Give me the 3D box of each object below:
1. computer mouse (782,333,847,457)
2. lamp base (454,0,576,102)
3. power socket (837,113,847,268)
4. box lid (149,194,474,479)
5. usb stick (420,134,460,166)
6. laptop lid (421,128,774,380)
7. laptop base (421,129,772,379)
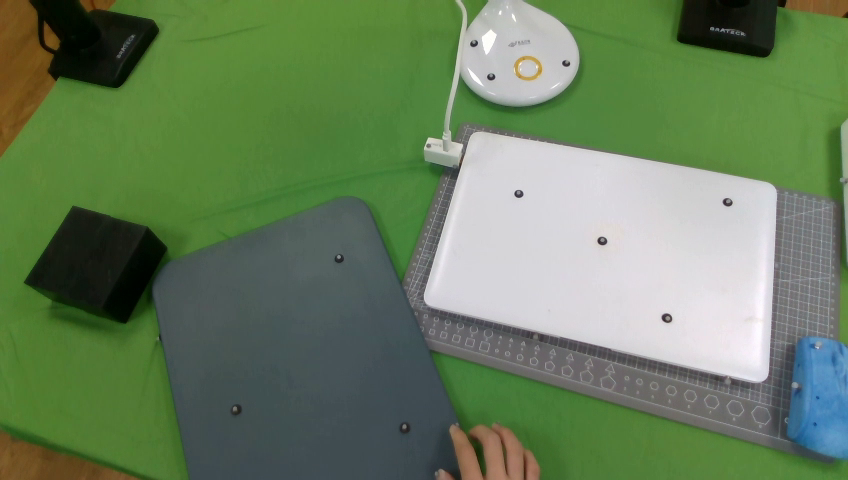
[{"bbox_3d":[0.384,0.143,0.578,0.062,0.041,0.116,17,62,14],"label":"computer mouse"},{"bbox_3d":[0.109,-0.292,0.739,0.161,0.182,0.177,-21,61,-7],"label":"lamp base"},{"bbox_3d":[0.508,-0.056,0.676,0.072,0.033,0.225,12,65,8],"label":"power socket"},{"bbox_3d":[-0.131,0.130,0.634,0.263,0.015,0.368,-21,64,-7],"label":"box lid"},{"bbox_3d":[0.026,-0.107,0.727,0.059,0.027,0.021,17,60,8],"label":"usb stick"},{"bbox_3d":[0.192,0.001,0.663,0.356,0.013,0.240,13,67,10],"label":"laptop lid"},{"bbox_3d":[0.194,0.004,0.674,0.353,0.023,0.234,12,68,10],"label":"laptop base"}]
